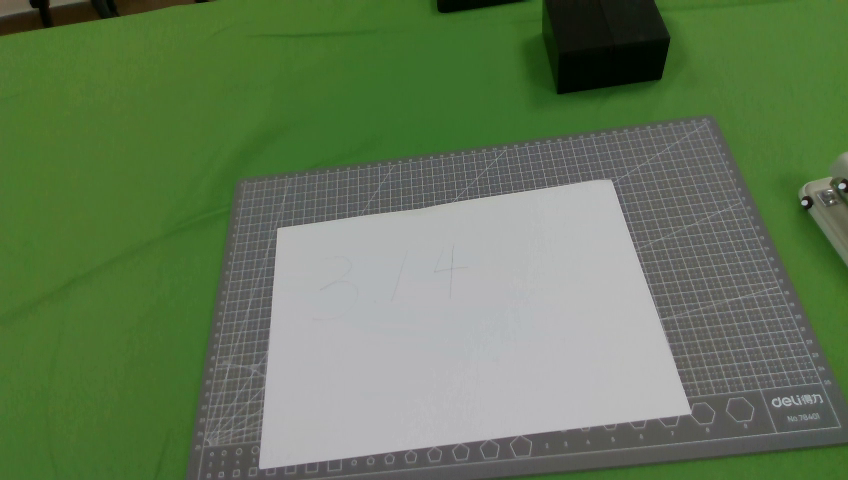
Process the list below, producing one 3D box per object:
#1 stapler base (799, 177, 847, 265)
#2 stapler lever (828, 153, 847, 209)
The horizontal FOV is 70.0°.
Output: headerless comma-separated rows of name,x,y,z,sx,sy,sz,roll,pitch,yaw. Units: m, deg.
stapler base,0.333,-0.001,0.451,0.041,0.025,0.129,-15,56,3
stapler lever,0.330,-0.014,0.430,0.027,0.040,0.117,-15,56,3
